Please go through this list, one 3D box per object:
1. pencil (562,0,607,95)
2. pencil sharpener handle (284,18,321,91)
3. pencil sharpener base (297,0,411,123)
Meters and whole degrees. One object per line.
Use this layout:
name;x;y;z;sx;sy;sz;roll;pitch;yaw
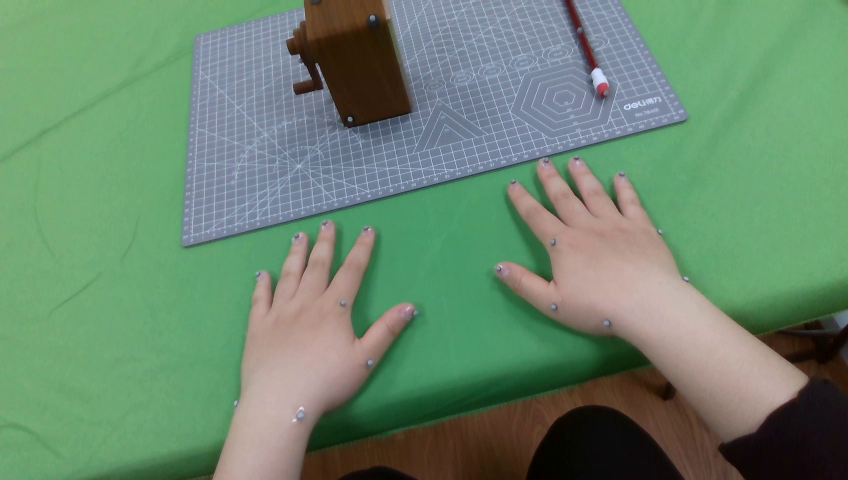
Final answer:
pencil;0.148;-0.209;0.588;0.012;0.012;0.192;-10;55;5
pencil sharpener handle;-0.113;-0.160;0.535;0.030;0.068;0.035;-14;56;3
pencil sharpener base;-0.061;-0.166;0.544;0.077;0.108;0.060;-14;56;3
